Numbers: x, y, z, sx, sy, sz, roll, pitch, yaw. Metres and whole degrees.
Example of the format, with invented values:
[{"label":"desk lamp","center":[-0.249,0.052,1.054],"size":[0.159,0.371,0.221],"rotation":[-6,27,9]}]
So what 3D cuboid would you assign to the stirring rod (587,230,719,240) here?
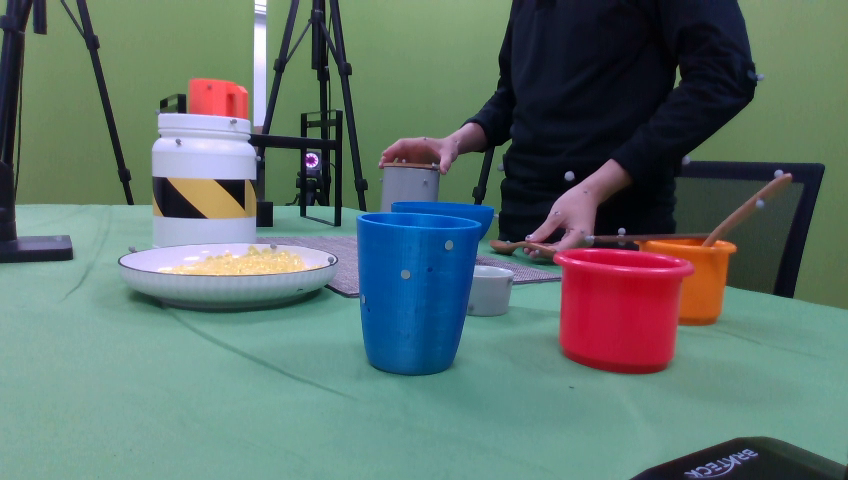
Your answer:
[{"label":"stirring rod","center":[0.226,-0.005,0.587],"size":[0.177,0.006,0.014],"rotation":[-2,10,-29]}]

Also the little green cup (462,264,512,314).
[{"label":"little green cup","center":[0.053,0.047,0.580],"size":[0.061,0.038,0.061],"rotation":[3,8,0]}]

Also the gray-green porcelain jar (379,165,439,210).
[{"label":"gray-green porcelain jar","center":[-0.029,-0.072,1.125],"size":[0.106,0.126,0.106],"rotation":[5,4,0]}]

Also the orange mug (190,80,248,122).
[{"label":"orange mug","center":[-0.394,-0.257,1.173],"size":[0.126,0.100,0.084],"rotation":[1,6,25]}]

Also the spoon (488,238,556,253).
[{"label":"spoon","center":[0.147,0.007,0.918],"size":[0.042,0.021,0.193],"rotation":[12,-4,-17]}]

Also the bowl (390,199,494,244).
[{"label":"bowl","center":[0.024,-0.015,0.871],"size":[0.151,0.077,0.151],"rotation":[3,7,0]}]

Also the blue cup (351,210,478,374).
[{"label":"blue cup","center":[-0.009,0.034,0.414],"size":[0.093,0.100,0.092],"rotation":[4,8,0]}]

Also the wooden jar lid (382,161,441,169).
[{"label":"wooden jar lid","center":[-0.024,-0.134,1.120],"size":[0.108,0.020,0.108],"rotation":[4,5,0]}]

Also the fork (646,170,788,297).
[{"label":"fork","center":[0.256,0.004,0.543],"size":[0.028,0.018,0.207],"rotation":[3,-36,-9]}]

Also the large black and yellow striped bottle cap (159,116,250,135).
[{"label":"large black and yellow striped bottle cap","center":[-0.292,-0.153,0.810],"size":[0.115,0.019,0.115],"rotation":[3,9,0]}]

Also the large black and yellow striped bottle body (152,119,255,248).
[{"label":"large black and yellow striped bottle body","center":[-0.296,-0.070,0.819],"size":[0.131,0.184,0.130],"rotation":[2,7,0]}]

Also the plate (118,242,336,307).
[{"label":"plate","center":[-0.194,0.033,0.615],"size":[0.209,0.038,0.209],"rotation":[2,7,0]}]
